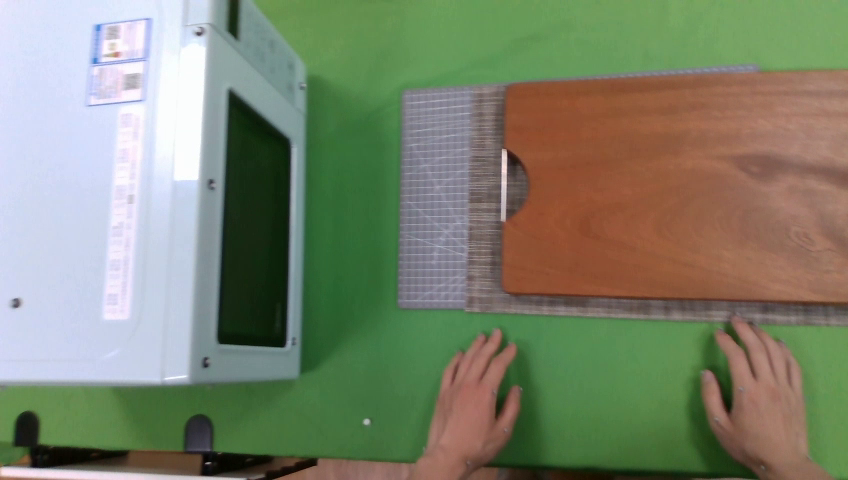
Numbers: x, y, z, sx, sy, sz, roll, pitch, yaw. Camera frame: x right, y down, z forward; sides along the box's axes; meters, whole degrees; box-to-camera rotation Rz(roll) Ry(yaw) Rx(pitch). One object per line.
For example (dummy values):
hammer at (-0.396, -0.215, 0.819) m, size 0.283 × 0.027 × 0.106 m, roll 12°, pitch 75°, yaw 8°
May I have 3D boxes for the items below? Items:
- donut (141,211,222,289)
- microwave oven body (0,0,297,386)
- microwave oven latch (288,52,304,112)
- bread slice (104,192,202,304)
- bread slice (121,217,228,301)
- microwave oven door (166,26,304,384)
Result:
donut at (-0.300, 0.013, 0.747) m, size 0.099 × 0.048 × 0.099 m, roll 0°, pitch 99°, yaw 1°
microwave oven body at (-0.345, -0.053, 0.732) m, size 0.325 × 0.261 × 0.440 m, roll -3°, pitch 80°, yaw 11°
microwave oven latch at (-0.180, -0.216, 0.828) m, size 0.030 × 0.029 × 0.079 m, roll -3°, pitch 80°, yaw 11°
bread slice at (-0.316, 0.019, 0.700) m, size 0.134 × 0.018 × 0.106 m, roll -22°, pitch 79°, yaw 21°
bread slice at (-0.326, 0.022, 0.785) m, size 0.131 × 0.019 × 0.105 m, roll 5°, pitch 90°, yaw 1°
microwave oven door at (-0.202, -0.020, 0.691) m, size 0.039 × 0.245 × 0.354 m, roll -3°, pitch 79°, yaw 12°
